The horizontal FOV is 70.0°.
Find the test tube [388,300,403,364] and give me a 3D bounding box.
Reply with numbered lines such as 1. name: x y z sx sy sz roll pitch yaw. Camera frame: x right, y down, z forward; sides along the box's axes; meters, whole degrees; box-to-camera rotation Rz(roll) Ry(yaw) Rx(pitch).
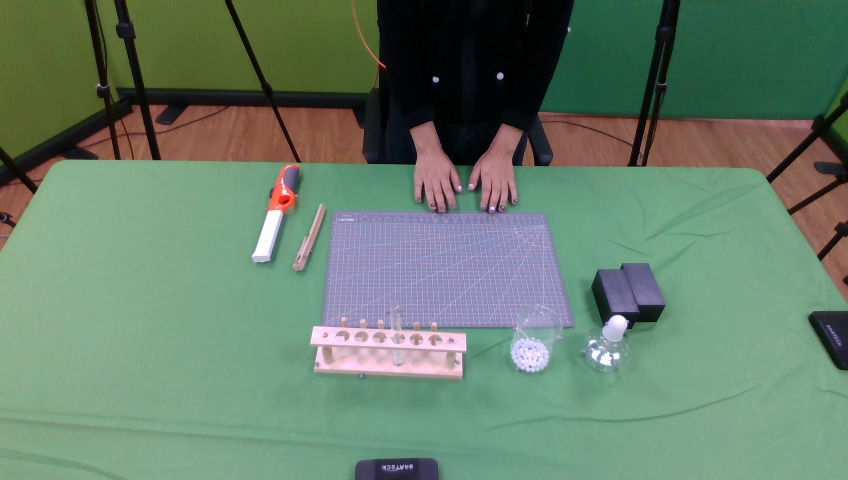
1. test tube: -0.044 0.146 0.942 0.017 0.151 0.017 -1 44 1

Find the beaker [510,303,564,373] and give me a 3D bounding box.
1. beaker: 0.182 0.164 1.000 0.074 0.101 0.083 2 46 -1

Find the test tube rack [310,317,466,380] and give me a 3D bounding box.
1. test tube rack: -0.056 0.171 0.987 0.242 0.085 0.066 3 45 -1

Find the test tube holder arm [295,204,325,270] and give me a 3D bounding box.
1. test tube holder arm: -0.223 -0.009 1.192 0.013 0.015 0.177 -17 38 26

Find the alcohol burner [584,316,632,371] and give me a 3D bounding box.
1. alcohol burner: 0.307 0.163 0.999 0.078 0.120 0.077 1 48 -1

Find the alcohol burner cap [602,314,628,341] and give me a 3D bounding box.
1. alcohol burner cap: 0.309 0.138 0.973 0.034 0.048 0.033 2 52 -2

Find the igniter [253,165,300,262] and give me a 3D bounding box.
1. igniter: -0.298 -0.063 1.234 0.057 0.025 0.275 -2 45 7

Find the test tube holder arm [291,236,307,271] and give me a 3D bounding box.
1. test tube holder arm: -0.234 0.024 1.163 0.010 0.015 0.087 -16 39 27
